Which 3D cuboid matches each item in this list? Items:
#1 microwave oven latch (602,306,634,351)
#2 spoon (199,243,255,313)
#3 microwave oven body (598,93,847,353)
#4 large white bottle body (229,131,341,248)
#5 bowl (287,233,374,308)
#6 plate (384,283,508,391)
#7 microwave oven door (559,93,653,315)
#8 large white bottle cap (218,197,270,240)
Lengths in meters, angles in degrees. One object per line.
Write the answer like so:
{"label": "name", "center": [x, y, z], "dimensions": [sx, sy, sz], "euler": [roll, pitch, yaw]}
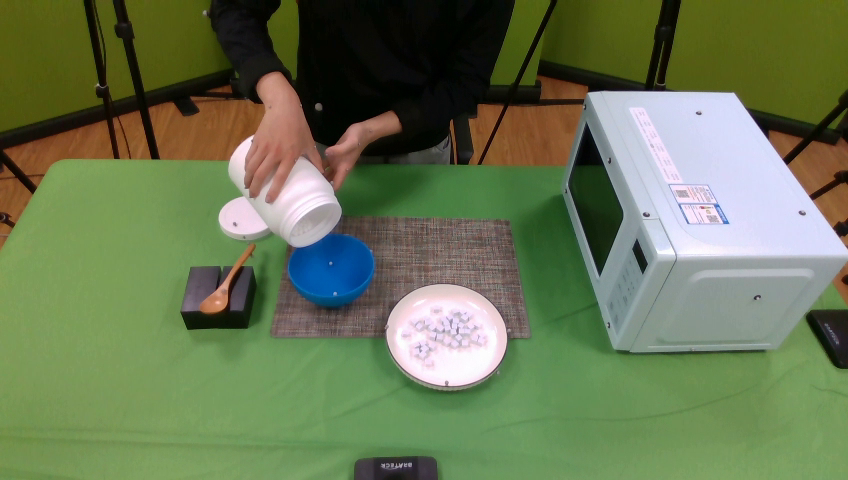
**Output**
{"label": "microwave oven latch", "center": [0.332, 0.153, 1.044], "dimensions": [0.030, 0.029, 0.078], "euler": [0, 45, -4]}
{"label": "spoon", "center": [-0.333, 0.062, 1.051], "dimensions": [0.041, 0.022, 0.193], "euler": [8, 40, 7]}
{"label": "microwave oven body", "center": [0.475, -0.041, 1.109], "dimensions": [0.326, 0.261, 0.438], "euler": [-1, 45, -4]}
{"label": "large white bottle body", "center": [-0.242, -0.087, 1.065], "dimensions": [0.130, 0.131, 0.184], "euler": [-30, 67, -29]}
{"label": "bowl", "center": [-0.165, 0.068, 1.078], "dimensions": [0.151, 0.077, 0.150], "euler": [3, 46, -3]}
{"label": "plate", "center": [0.036, 0.166, 1.029], "dimensions": [0.209, 0.038, 0.208], "euler": [2, 49, -2]}
{"label": "microwave oven door", "center": [0.327, -0.074, 1.123], "dimensions": [0.039, 0.245, 0.353], "euler": [-1, 46, -5]}
{"label": "large white bottle cap", "center": [-0.355, -0.045, 1.220], "dimensions": [0.115, 0.018, 0.114], "euler": [2, 45, -2]}
